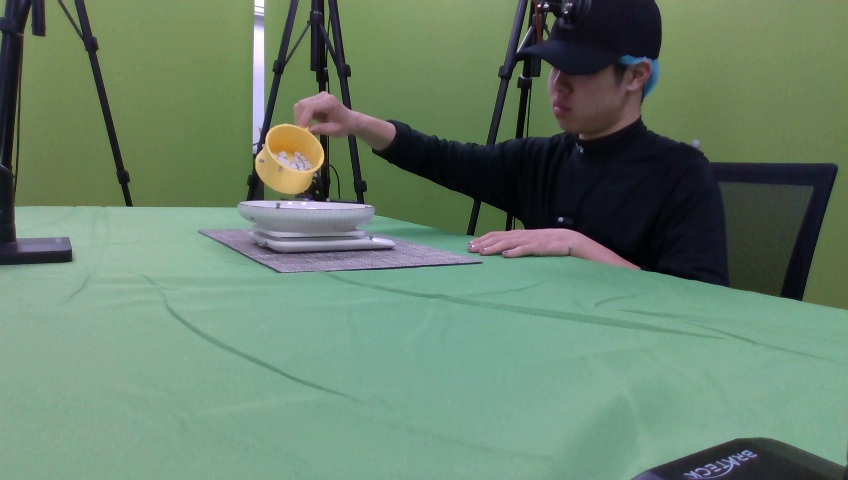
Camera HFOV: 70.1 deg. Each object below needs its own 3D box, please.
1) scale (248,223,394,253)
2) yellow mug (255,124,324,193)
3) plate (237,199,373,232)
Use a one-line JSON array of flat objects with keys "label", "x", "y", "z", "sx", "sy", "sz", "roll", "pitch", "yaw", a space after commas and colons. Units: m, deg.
[{"label": "scale", "x": -0.162, "y": -0.006, "z": 0.954, "sx": 0.202, "sy": 0.031, "sz": 0.148, "roll": -2, "pitch": 8, "yaw": -32}, {"label": "yellow mug", "x": -0.225, "y": -0.150, "z": 1.038, "sx": 0.100, "sy": 0.130, "sz": 0.064, "roll": 28, "pitch": -42, "yaw": -16}, {"label": "plate", "x": -0.183, "y": -0.039, "z": 0.941, "sx": 0.209, "sy": 0.038, "sz": 0.209, "roll": 3, "pitch": 7, "yaw": 0}]
